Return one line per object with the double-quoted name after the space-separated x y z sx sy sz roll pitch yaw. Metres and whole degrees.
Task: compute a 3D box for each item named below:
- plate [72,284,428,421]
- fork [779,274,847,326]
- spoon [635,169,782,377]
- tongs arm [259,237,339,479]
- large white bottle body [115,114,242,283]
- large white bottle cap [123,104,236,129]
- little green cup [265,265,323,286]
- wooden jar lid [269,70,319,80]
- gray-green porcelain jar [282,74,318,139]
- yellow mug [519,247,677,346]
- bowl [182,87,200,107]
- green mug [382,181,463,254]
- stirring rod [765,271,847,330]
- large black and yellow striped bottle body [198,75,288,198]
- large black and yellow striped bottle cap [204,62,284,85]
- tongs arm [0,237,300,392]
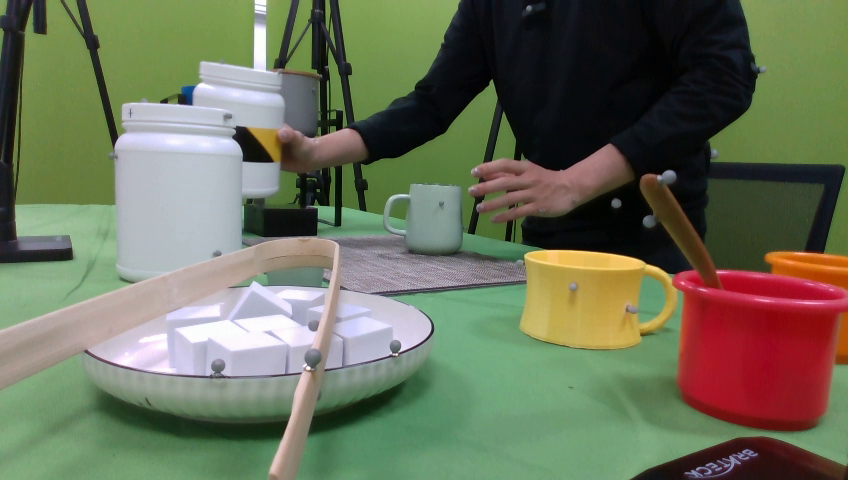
-0.102 0.067 0.381 0.208 0.039 0.207 3 7 0 "plate"
0.332 0.019 0.443 0.028 0.018 0.207 -3 -35 -16 "fork"
0.161 0.026 0.346 0.021 0.194 0.041 -51 32 -20 "spoon"
-0.074 0.040 0.345 0.051 0.026 0.384 -2 9 -3 "tongs arm"
-0.270 -0.051 0.673 0.131 0.184 0.130 2 8 0 "large white bottle body"
-0.266 -0.135 0.663 0.115 0.018 0.115 3 7 0 "large white bottle cap"
-0.134 0.033 0.628 0.061 0.038 0.061 3 7 0 "little green cup"
-0.275 -0.339 1.271 0.108 0.020 0.108 4 6 0 "wooden jar lid"
-0.277 -0.279 1.280 0.106 0.126 0.106 2 7 0 "gray-green porcelain jar"
0.148 0.045 0.513 0.131 0.064 0.100 3 7 0 "yellow mug"
-0.383 -0.244 1.158 0.151 0.077 0.151 2 7 0 "bowl"
-0.001 -0.036 0.922 0.126 0.105 0.092 0 8 -16 "green mug"
0.352 0.020 0.481 0.176 0.006 0.014 -40 -8 17 "stirring rod"
-0.277 -0.166 0.918 0.131 0.184 0.130 8 14 -2 "large black and yellow striped bottle body"
-0.266 -0.247 0.897 0.115 0.019 0.115 8 13 -2 "large black and yellow striped bottle cap"
-0.158 0.038 0.346 0.028 0.028 0.388 -3 8 11 "tongs arm"
